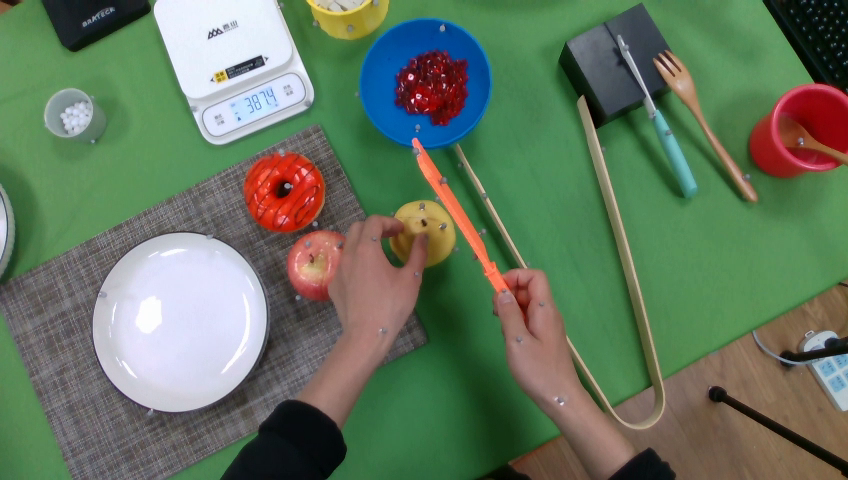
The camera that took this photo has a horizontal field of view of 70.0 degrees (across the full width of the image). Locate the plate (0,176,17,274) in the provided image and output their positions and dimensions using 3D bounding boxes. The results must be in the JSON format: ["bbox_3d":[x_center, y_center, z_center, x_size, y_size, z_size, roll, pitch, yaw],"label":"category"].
[{"bbox_3d":[-0.596,-0.012,0.742,0.207,0.039,0.207,0,84,3],"label":"plate"}]

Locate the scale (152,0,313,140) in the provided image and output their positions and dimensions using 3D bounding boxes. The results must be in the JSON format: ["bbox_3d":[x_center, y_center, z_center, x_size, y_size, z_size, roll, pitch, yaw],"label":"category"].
[{"bbox_3d":[-0.238,-0.238,0.752,0.148,0.031,0.200,-23,84,1],"label":"scale"}]

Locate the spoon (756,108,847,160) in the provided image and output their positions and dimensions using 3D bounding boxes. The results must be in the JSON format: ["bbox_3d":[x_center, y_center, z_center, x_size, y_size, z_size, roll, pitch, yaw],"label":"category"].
[{"bbox_3d":[0.439,-0.097,0.651,0.041,0.022,0.191,-33,39,-1],"label":"spoon"}]

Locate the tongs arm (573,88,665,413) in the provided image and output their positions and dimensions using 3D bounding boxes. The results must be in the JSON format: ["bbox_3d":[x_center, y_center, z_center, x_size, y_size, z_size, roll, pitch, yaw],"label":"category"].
[{"bbox_3d":[0.225,0.006,0.712,0.028,0.028,0.386,-12,84,-8],"label":"tongs arm"}]

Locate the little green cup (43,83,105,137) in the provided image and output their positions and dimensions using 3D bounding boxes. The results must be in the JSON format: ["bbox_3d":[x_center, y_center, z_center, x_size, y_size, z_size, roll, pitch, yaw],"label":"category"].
[{"bbox_3d":[-0.430,-0.157,0.749,0.061,0.039,0.061,0,84,3],"label":"little green cup"}]

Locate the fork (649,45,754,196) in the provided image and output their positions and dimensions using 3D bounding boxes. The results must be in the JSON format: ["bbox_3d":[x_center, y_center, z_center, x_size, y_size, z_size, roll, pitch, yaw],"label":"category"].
[{"bbox_3d":[0.324,-0.136,0.700,0.028,0.018,0.208,-37,99,-4],"label":"fork"}]

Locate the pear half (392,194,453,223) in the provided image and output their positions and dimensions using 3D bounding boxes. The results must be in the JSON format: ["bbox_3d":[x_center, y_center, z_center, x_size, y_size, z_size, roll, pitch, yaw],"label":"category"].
[{"bbox_3d":[-0.001,-0.037,0.692,0.070,0.088,0.031,2,81,1],"label":"pear half"}]

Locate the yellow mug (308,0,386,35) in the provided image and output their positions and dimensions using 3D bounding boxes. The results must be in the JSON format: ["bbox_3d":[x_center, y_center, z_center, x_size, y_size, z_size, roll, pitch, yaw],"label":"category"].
[{"bbox_3d":[-0.113,-0.319,0.737,0.130,0.064,0.100,30,86,6],"label":"yellow mug"}]

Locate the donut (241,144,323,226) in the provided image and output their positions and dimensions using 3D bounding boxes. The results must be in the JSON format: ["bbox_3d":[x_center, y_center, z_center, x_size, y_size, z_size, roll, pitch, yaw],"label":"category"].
[{"bbox_3d":[-0.169,-0.065,0.721,0.099,0.048,0.099,0,85,4],"label":"donut"}]

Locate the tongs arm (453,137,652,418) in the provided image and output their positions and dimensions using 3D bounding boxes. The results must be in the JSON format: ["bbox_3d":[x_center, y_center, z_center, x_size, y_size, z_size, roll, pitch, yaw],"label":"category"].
[{"bbox_3d":[0.145,0.039,0.705,0.051,0.026,0.383,-27,84,-7],"label":"tongs arm"}]

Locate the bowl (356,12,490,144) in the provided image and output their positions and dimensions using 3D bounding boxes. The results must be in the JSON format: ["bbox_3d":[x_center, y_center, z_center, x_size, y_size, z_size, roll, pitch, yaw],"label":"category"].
[{"bbox_3d":[0.001,-0.178,0.712,0.151,0.077,0.151,0,85,2],"label":"bowl"}]

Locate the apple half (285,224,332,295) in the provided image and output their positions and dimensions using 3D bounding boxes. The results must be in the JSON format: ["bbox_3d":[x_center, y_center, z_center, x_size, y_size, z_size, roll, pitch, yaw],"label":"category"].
[{"bbox_3d":[-0.130,0.021,0.696,0.053,0.075,0.080,6,87,7],"label":"apple half"}]

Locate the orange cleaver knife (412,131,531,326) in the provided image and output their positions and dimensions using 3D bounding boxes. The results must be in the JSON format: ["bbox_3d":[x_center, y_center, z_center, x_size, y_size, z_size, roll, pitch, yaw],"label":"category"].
[{"bbox_3d":[0.046,-0.009,0.577,0.012,0.076,0.213,-29,110,13],"label":"orange cleaver knife"}]

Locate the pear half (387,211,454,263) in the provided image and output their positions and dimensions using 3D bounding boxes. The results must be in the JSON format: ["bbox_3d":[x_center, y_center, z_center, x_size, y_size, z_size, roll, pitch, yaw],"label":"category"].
[{"bbox_3d":[-0.006,-0.004,0.677,0.076,0.110,0.055,4,79,3],"label":"pear half"}]

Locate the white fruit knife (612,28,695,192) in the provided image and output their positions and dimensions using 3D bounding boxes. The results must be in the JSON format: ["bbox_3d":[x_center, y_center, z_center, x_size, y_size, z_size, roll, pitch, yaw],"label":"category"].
[{"bbox_3d":[0.263,-0.148,0.696,0.016,0.027,0.208,-30,98,-1],"label":"white fruit knife"}]

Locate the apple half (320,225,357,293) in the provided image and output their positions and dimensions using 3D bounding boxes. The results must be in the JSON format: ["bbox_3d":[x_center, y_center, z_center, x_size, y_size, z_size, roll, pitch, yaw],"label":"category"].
[{"bbox_3d":[-0.092,0.024,0.693,0.033,0.081,0.081,6,84,7],"label":"apple half"}]

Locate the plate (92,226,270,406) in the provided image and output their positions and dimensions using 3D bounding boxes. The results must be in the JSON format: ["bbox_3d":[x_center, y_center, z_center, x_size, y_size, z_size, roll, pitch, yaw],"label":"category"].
[{"bbox_3d":[-0.280,0.087,0.713,0.209,0.038,0.208,0,84,3],"label":"plate"}]
